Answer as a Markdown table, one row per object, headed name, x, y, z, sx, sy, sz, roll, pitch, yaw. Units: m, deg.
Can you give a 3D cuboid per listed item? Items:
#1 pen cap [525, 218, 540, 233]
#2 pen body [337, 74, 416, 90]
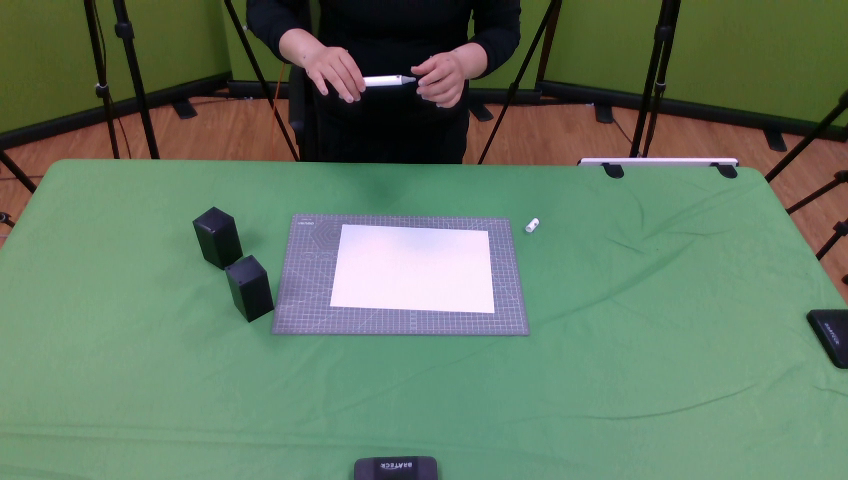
| name | x | y | z | sx | sy | sz | roll | pitch | yaw |
| --- | --- | --- | --- | --- | --- | --- | --- | --- | --- |
| pen cap | 0.224 | -0.031 | 1.248 | 0.017 | 0.017 | 0.038 | 30 | 51 | 23 |
| pen body | -0.086 | -0.287 | 1.094 | 0.144 | 0.017 | 0.017 | -6 | 45 | 5 |
